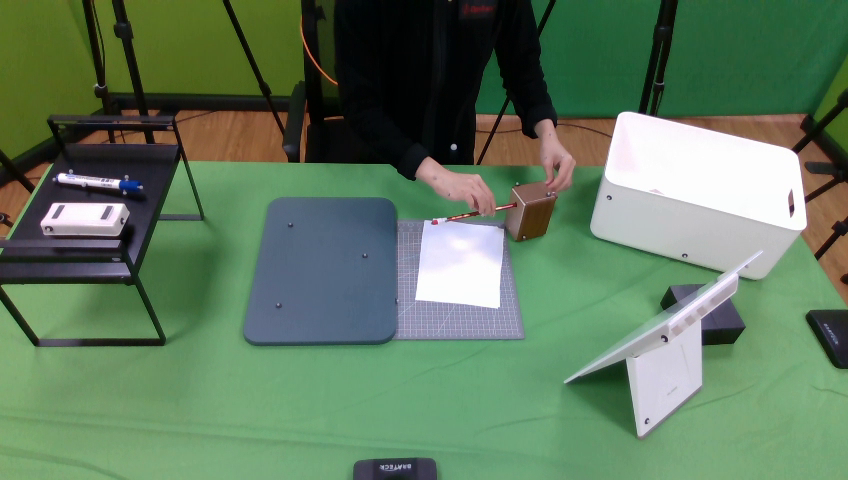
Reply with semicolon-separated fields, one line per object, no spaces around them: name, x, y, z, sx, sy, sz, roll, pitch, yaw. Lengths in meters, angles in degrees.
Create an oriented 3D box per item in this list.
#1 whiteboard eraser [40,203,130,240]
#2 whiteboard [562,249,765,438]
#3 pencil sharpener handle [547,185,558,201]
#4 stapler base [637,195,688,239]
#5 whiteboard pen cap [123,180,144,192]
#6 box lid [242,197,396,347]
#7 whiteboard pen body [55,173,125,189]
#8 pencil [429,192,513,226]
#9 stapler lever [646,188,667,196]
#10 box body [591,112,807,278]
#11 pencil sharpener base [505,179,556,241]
whiteboard eraser;-0.513;-0.028;0.922;0.113;0.042;0.055;1;48;-3
whiteboard;0.386;0.175;0.905;0.217;0.306;0.143;-26;72;-26
pencil sharpener handle;0.256;-0.096;1.221;0.031;0.036;0.067;-14;26;-18
stapler base;0.507;-0.055;1.280;0.041;0.024;0.129;-14;47;-19
whiteboard pen cap;-0.479;-0.089;0.993;0.033;0.018;0.018;7;46;14
box lid;-0.186;0.046;1.147;0.263;0.015;0.369;0;46;-3
whiteboard pen body;-0.539;-0.095;0.998;0.141;0.017;0.017;6;46;6
pencil;0.098;-0.063;1.161;0.194;0.012;0.012;-21;51;-15
stapler lever;0.507;-0.075;1.262;0.027;0.040;0.117;-14;46;-19
box body;0.540;-0.092;1.229;0.363;0.161;0.253;16;47;11
pencil sharpener base;0.213;-0.059;1.211;0.077;0.107;0.061;-14;48;-18
